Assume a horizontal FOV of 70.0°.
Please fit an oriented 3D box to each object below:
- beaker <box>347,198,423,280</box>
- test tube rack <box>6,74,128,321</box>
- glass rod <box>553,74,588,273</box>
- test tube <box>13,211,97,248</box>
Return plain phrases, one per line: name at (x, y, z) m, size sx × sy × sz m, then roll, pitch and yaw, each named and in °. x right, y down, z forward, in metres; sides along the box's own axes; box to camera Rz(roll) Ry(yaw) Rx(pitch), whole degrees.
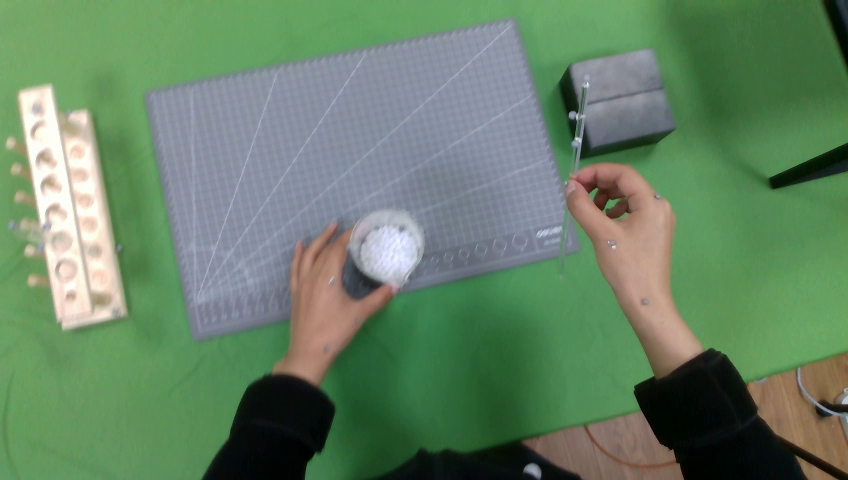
beaker at (-0.038, 0.006, 0.643) m, size 0.074 × 0.100 × 0.083 m, roll -18°, pitch 83°, yaw -5°
test tube rack at (-0.384, -0.040, 0.640) m, size 0.067 × 0.085 × 0.241 m, roll -13°, pitch 84°, yaw -4°
glass rod at (0.124, -0.047, 0.524) m, size 0.008 × 0.201 × 0.008 m, roll -1°, pitch 39°, yaw 1°
test tube at (-0.352, -0.007, 0.587) m, size 0.017 × 0.150 × 0.017 m, roll 1°, pitch 82°, yaw -8°
